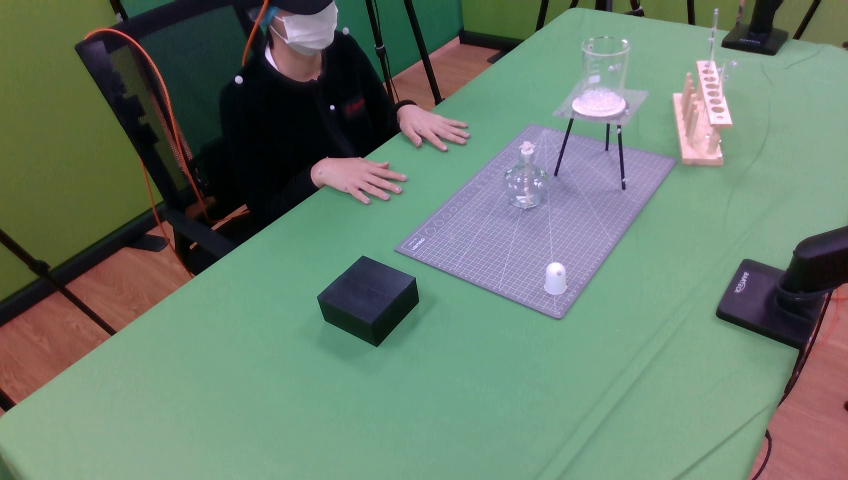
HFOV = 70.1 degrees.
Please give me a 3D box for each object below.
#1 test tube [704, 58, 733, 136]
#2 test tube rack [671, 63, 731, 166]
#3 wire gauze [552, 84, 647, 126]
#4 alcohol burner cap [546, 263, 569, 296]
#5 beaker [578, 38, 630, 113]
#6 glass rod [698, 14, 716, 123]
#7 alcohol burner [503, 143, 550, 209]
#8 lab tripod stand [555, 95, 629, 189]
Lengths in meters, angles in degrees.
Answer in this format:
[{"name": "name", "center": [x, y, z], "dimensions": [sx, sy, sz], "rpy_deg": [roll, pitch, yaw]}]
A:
[{"name": "test tube", "center": [0.516, -0.247, 1.062], "dimensions": [0.017, 0.151, 0.017], "rpy_deg": [-3, 43, 4]}, {"name": "test tube rack", "center": [0.513, -0.241, 1.132], "dimensions": [0.066, 0.085, 0.242], "rpy_deg": [4, 41, 14]}, {"name": "wire gauze", "center": [0.293, -0.224, 1.004], "dimensions": [0.120, 0.011, 0.125], "rpy_deg": [19, 43, 26]}, {"name": "alcohol burner cap", "center": [0.191, 0.053, 0.862], "dimensions": [0.034, 0.048, 0.033], "rpy_deg": [-5, 40, 4]}, {"name": "beaker", "center": [0.290, -0.265, 0.976], "dimensions": [0.084, 0.101, 0.073], "rpy_deg": [-18, 41, -14]}, {"name": "glass rod", "center": [0.531, -0.320, 1.136], "dimensions": [0.008, 0.200, 0.008], "rpy_deg": [3, 12, 0]}, {"name": "alcohol burner", "center": [0.171, -0.111, 1.007], "dimensions": [0.078, 0.119, 0.077], "rpy_deg": [-3, 41, 3]}, {"name": "lab tripod stand", "center": [0.300, -0.174, 1.045], "dimensions": [0.148, 0.132, 0.147], "rpy_deg": [-5, 38, 5]}]
